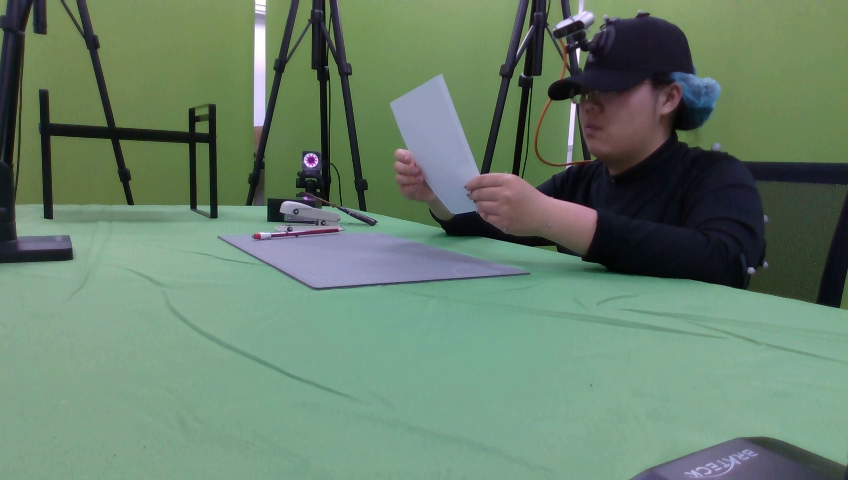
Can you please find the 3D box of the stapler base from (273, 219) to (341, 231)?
[{"bbox_3d":[-0.226,-0.030,1.172,0.131,0.024,0.041,0,10,-34],"label":"stapler base"}]

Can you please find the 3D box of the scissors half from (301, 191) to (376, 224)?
[{"bbox_3d":[-0.189,-0.073,1.333,0.175,0.013,0.040,22,11,-10],"label":"scissors half"}]

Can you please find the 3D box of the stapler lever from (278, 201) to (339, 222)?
[{"bbox_3d":[-0.223,-0.054,1.170,0.119,0.040,0.026,-1,11,-34],"label":"stapler lever"}]

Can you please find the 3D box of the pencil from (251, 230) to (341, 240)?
[{"bbox_3d":[-0.215,-0.011,1.049,0.012,0.012,0.195,9,9,39],"label":"pencil"}]

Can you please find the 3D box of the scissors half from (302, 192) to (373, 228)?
[{"bbox_3d":[-0.191,-0.068,1.314,0.175,0.013,0.040,26,16,7],"label":"scissors half"}]
